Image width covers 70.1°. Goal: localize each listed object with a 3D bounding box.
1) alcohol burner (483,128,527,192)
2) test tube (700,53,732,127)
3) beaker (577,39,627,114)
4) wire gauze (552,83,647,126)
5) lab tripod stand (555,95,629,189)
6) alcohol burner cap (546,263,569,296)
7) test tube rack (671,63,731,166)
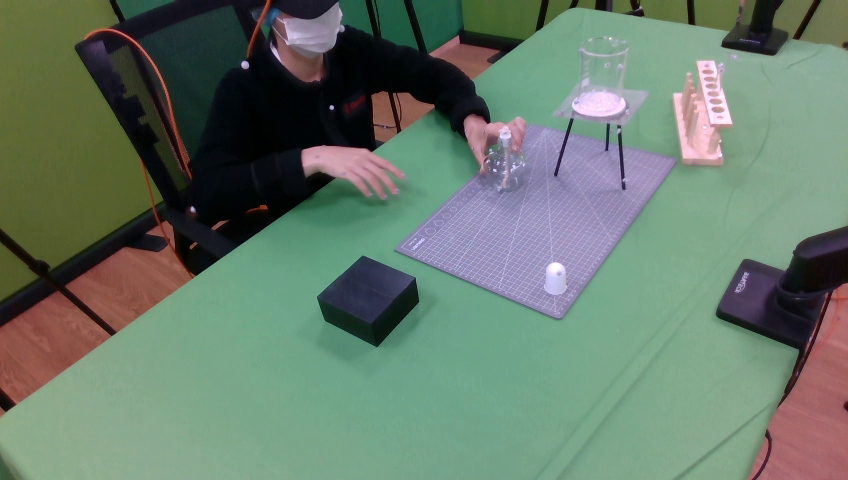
[{"bbox_3d":[0.141,-0.144,1.050,0.078,0.119,0.077,-4,42,4],"label":"alcohol burner"},{"bbox_3d":[0.521,-0.265,1.081,0.017,0.151,0.017,-3,47,3],"label":"test tube"},{"bbox_3d":[0.286,-0.264,0.976,0.073,0.100,0.084,25,49,33],"label":"beaker"},{"bbox_3d":[0.293,-0.224,1.003,0.120,0.011,0.125,19,43,26],"label":"wire gauze"},{"bbox_3d":[0.300,-0.174,1.045,0.148,0.132,0.147,-5,38,5],"label":"lab tripod stand"},{"bbox_3d":[0.191,0.053,0.862,0.034,0.048,0.033,-5,40,4],"label":"alcohol burner cap"},{"bbox_3d":[0.513,-0.241,1.132,0.066,0.085,0.242,4,41,14],"label":"test tube rack"}]
